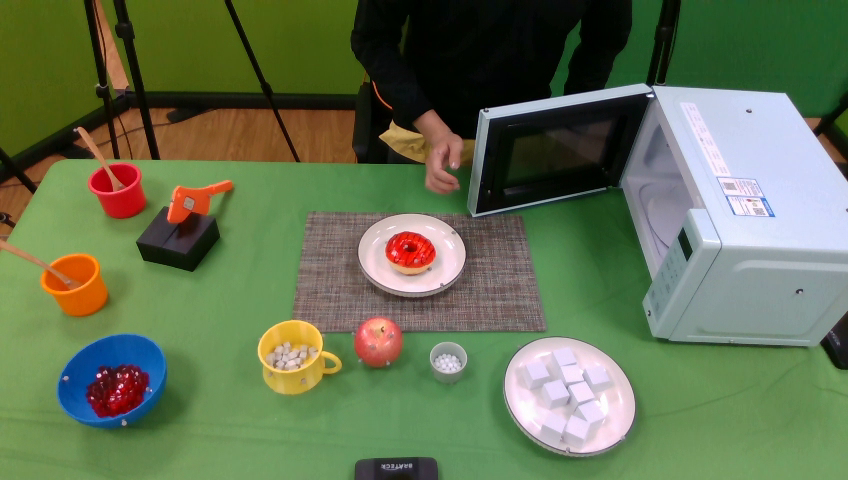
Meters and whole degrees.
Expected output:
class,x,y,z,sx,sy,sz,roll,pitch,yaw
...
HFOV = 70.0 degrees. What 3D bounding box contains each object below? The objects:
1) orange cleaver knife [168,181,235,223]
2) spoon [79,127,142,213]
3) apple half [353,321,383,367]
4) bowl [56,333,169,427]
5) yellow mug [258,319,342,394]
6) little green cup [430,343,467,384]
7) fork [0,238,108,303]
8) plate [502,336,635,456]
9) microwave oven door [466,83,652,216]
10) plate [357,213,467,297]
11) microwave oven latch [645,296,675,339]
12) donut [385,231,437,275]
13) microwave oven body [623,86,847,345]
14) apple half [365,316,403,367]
class,x,y,z,sx,sy,sz,roll,pitch,yaw
orange cleaver knife,-0.436,-0.078,1.196,0.012,0.077,0.211,16,15,10
spoon,-0.625,-0.139,1.203,0.041,0.021,0.194,-33,101,-26
apple half,-0.097,0.177,0.984,0.033,0.081,0.081,-17,49,-25
bowl,-0.456,0.223,0.912,0.151,0.077,0.150,3,46,-2
yellow mug,-0.195,0.188,0.972,0.131,0.064,0.099,9,47,4
little green cup,0.039,0.203,0.994,0.061,0.039,0.061,2,46,-2
fork,-0.633,0.048,1.017,0.208,0.018,0.028,40,43,-27
plate,0.225,0.248,0.963,0.208,0.039,0.206,2,46,-2
microwave oven door,0.266,-0.181,1.214,0.356,0.245,0.039,-12,49,-15
plate,-0.023,0.032,1.150,0.209,0.038,0.208,2,46,-2
microwave oven latch,0.412,0.134,1.061,0.030,0.029,0.078,3,45,0
donut,-0.025,0.024,1.141,0.099,0.048,0.098,3,44,-3
microwave oven body,0.567,-0.053,1.118,0.326,0.261,0.439,2,45,-1
apple half,-0.063,0.165,1.000,0.053,0.075,0.080,-16,45,-24
